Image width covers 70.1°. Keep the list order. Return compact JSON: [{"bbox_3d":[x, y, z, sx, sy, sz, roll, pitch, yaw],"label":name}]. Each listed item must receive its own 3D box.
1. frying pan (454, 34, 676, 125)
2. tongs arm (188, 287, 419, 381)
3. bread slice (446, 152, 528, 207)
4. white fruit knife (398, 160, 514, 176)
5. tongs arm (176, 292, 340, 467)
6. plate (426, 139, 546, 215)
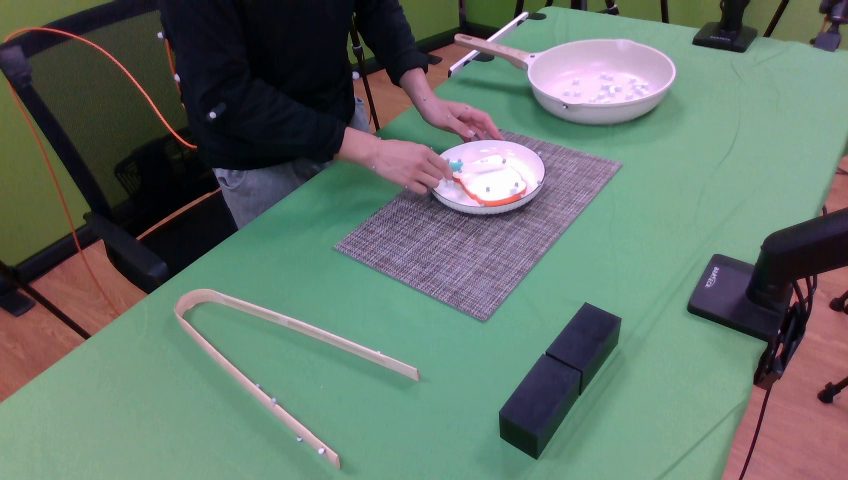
[{"bbox_3d":[0.277,-0.370,1.295,0.485,0.103,0.307,26,49,22],"label":"frying pan"},{"bbox_3d":[-0.177,0.126,0.842,0.385,0.028,0.028,15,48,24],"label":"tongs arm"},{"bbox_3d":[0.117,-0.104,1.057,0.107,0.018,0.133,-24,42,-18],"label":"bread slice"},{"bbox_3d":[0.058,-0.127,1.040,0.208,0.027,0.016,-5,46,-16],"label":"white fruit knife"},{"bbox_3d":[-0.225,0.168,0.793,0.381,0.026,0.051,25,49,33],"label":"tongs arm"},{"bbox_3d":[0.109,-0.107,1.059,0.207,0.039,0.206,-4,41,4],"label":"plate"}]
